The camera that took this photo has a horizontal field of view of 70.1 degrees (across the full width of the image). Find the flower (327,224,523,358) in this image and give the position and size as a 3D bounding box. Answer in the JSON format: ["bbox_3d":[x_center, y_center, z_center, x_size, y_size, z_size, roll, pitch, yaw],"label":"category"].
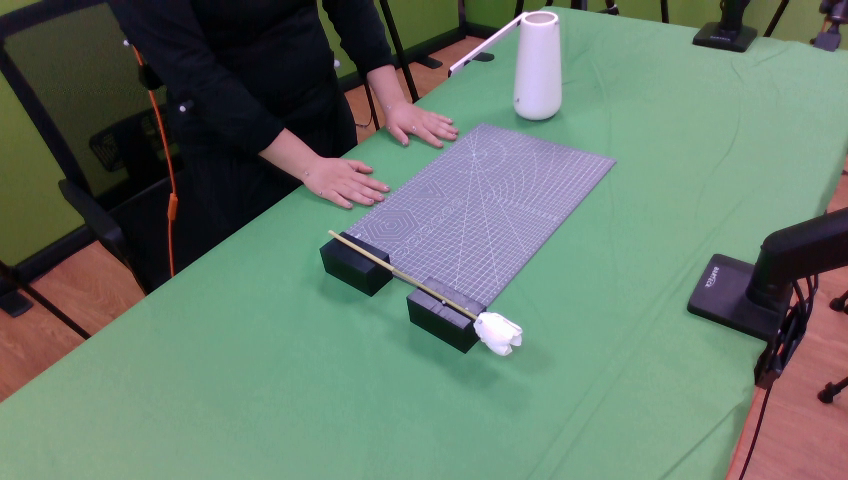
[{"bbox_3d":[-0.017,0.054,0.836,0.358,0.038,0.044,31,84,32],"label":"flower"}]

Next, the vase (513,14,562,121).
[{"bbox_3d":[0.225,-0.336,1.196,0.098,0.201,0.097,-5,42,5],"label":"vase"}]
